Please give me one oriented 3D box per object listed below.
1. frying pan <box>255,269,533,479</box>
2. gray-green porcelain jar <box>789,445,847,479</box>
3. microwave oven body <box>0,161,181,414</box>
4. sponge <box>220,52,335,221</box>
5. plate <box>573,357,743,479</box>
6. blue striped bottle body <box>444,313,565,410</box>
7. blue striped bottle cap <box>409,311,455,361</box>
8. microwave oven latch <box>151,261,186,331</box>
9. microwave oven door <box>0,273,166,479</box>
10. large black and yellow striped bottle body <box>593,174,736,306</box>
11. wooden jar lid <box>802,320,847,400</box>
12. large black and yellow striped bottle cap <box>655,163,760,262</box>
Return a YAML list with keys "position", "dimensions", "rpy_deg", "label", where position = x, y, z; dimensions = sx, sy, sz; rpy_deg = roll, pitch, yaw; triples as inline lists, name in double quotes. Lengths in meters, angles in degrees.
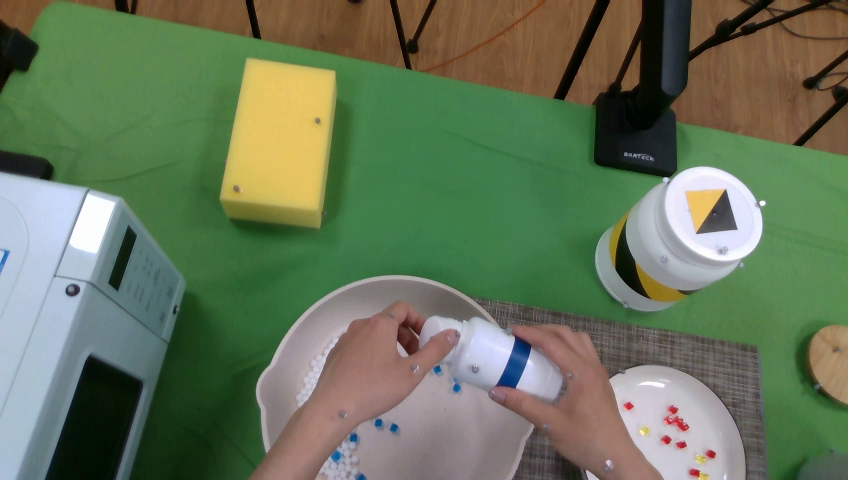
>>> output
- position: [-0.045, 0.270, 0.642]
  dimensions: [0.307, 0.103, 0.484]
  rpy_deg: [9, 61, -2]
  label: "frying pan"
- position: [0.506, 0.293, 0.704]
  dimensions: [0.106, 0.127, 0.105]
  rpy_deg: [3, 69, -7]
  label: "gray-green porcelain jar"
- position: [-0.459, 0.163, 0.535]
  dimensions: [0.326, 0.261, 0.439]
  rpy_deg: [11, 70, -5]
  label: "microwave oven body"
- position: [-0.186, -0.135, 0.793]
  dimensions: [0.118, 0.061, 0.205]
  rpy_deg: [5, 70, -7]
  label: "sponge"
- position: [0.277, 0.247, 0.731]
  dimensions: [0.209, 0.038, 0.207]
  rpy_deg: [3, 70, -7]
  label: "plate"
- position: [0.068, 0.112, 0.582]
  dimensions: [0.121, 0.063, 0.063]
  rpy_deg: [25, 68, -5]
  label: "blue striped bottle body"
- position: [0.007, 0.090, 0.568]
  dimensions: [0.021, 0.044, 0.044]
  rpy_deg: [29, 62, -39]
  label: "blue striped bottle cap"
- position: [-0.298, 0.062, 0.698]
  dimensions: [0.030, 0.029, 0.078]
  rpy_deg: [10, 70, -5]
  label: "microwave oven latch"
- position: [-0.322, 0.227, 0.525]
  dimensions: [0.039, 0.245, 0.353]
  rpy_deg: [10, 69, -4]
  label: "microwave oven door"
- position: [0.303, -0.002, 0.751]
  dimensions: [0.131, 0.185, 0.130]
  rpy_deg: [3, 69, -7]
  label: "large black and yellow striped bottle body"
- position: [0.559, 0.162, 0.816]
  dimensions: [0.108, 0.021, 0.107]
  rpy_deg: [2, 71, -7]
  label: "wooden jar lid"
- position: [0.314, -0.031, 0.671]
  dimensions: [0.115, 0.019, 0.114]
  rpy_deg: [3, 68, -7]
  label: "large black and yellow striped bottle cap"
